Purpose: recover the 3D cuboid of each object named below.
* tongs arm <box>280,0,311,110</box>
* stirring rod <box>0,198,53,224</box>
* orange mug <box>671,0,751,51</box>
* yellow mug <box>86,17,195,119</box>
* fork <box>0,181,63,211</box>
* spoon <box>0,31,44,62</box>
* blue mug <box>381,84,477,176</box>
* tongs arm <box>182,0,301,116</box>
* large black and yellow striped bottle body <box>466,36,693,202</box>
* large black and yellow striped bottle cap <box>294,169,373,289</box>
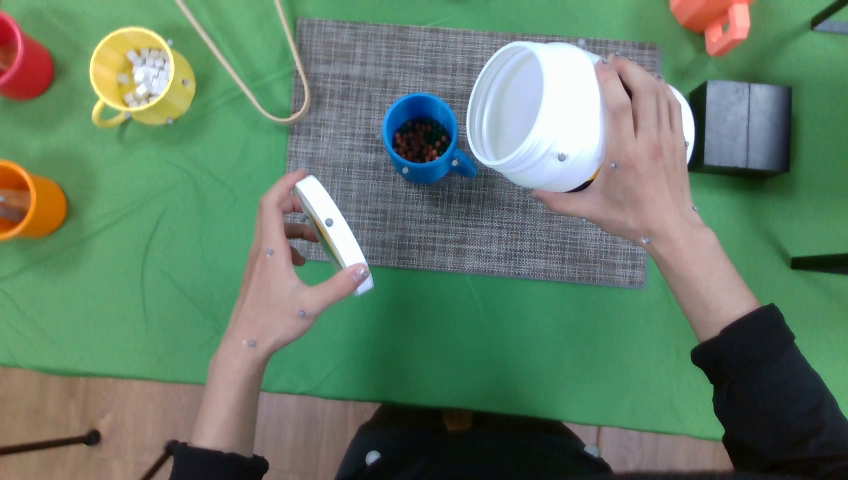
[{"bbox_3d":[-0.202,-0.347,0.725,0.028,0.027,0.388,-20,95,-9],"label":"tongs arm"},{"bbox_3d":[-0.513,-0.052,0.678,0.006,0.178,0.014,-6,68,43],"label":"stirring rod"},{"bbox_3d":[0.351,-0.293,0.710,0.083,0.101,0.126,-5,83,0],"label":"orange mug"},{"bbox_3d":[-0.346,-0.193,0.722,0.100,0.064,0.131,44,89,1],"label":"yellow mug"},{"bbox_3d":[-0.520,-0.071,0.675,0.209,0.018,0.028,21,86,-43],"label":"fork"},{"bbox_3d":[-0.540,-0.219,0.684,0.194,0.021,0.041,-18,85,-45],"label":"spoon"},{"bbox_3d":[0.011,-0.114,0.696,0.116,0.106,0.082,31,88,1],"label":"blue mug"},{"bbox_3d":[-0.276,-0.307,0.721,0.051,0.026,0.385,-33,95,-4],"label":"tongs arm"},{"bbox_3d":[0.144,-0.112,0.570,0.185,0.130,0.130,8,87,-32],"label":"large black and yellow striped bottle body"},{"bbox_3d":[-0.082,-0.009,0.544,0.019,0.115,0.115,-31,87,-15],"label":"large black and yellow striped bottle cap"}]
